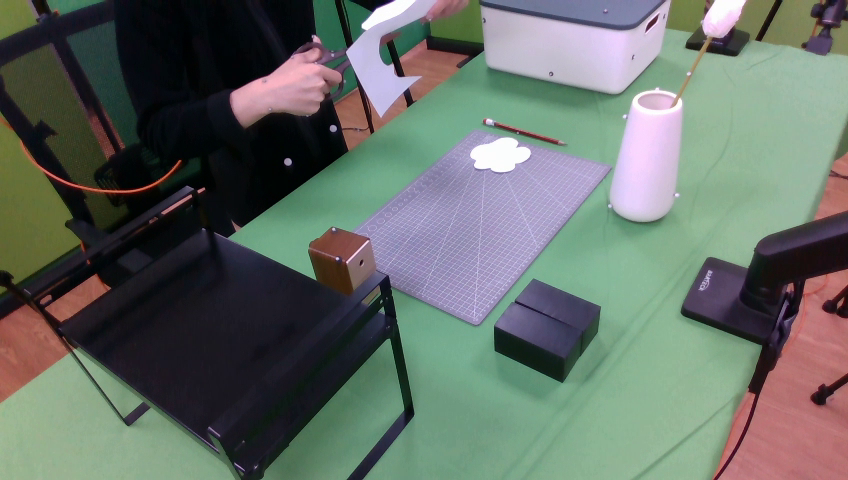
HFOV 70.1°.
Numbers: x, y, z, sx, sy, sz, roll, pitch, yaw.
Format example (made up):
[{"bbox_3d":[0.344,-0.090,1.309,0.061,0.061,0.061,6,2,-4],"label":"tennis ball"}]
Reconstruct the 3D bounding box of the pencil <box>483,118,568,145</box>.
[{"bbox_3d":[0.202,-0.217,1.212,0.192,0.012,0.012,24,49,29],"label":"pencil"}]

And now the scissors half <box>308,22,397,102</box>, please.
[{"bbox_3d":[-0.108,-0.273,0.926,0.175,0.040,0.012,-41,20,13],"label":"scissors half"}]

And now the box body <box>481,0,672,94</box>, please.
[{"bbox_3d":[0.341,-0.480,1.381,0.361,0.161,0.255,22,48,30],"label":"box body"}]

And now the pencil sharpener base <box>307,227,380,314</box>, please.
[{"bbox_3d":[-0.116,0.043,0.875,0.076,0.107,0.061,18,47,27],"label":"pencil sharpener base"}]

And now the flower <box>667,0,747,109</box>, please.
[{"bbox_3d":[0.354,-0.187,0.879,0.038,0.362,0.044,30,48,14],"label":"flower"}]

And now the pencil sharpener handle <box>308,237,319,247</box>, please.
[{"bbox_3d":[-0.159,0.017,0.892,0.030,0.068,0.036,18,61,28],"label":"pencil sharpener handle"}]

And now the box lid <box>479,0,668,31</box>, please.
[{"bbox_3d":[0.335,-0.536,1.331,0.368,0.015,0.264,23,49,30],"label":"box lid"}]

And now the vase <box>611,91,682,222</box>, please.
[{"bbox_3d":[0.348,-0.125,0.935,0.098,0.201,0.097,-3,40,3],"label":"vase"}]

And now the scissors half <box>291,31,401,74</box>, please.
[{"bbox_3d":[-0.119,-0.290,0.917,0.175,0.040,0.013,-15,28,1],"label":"scissors half"}]
